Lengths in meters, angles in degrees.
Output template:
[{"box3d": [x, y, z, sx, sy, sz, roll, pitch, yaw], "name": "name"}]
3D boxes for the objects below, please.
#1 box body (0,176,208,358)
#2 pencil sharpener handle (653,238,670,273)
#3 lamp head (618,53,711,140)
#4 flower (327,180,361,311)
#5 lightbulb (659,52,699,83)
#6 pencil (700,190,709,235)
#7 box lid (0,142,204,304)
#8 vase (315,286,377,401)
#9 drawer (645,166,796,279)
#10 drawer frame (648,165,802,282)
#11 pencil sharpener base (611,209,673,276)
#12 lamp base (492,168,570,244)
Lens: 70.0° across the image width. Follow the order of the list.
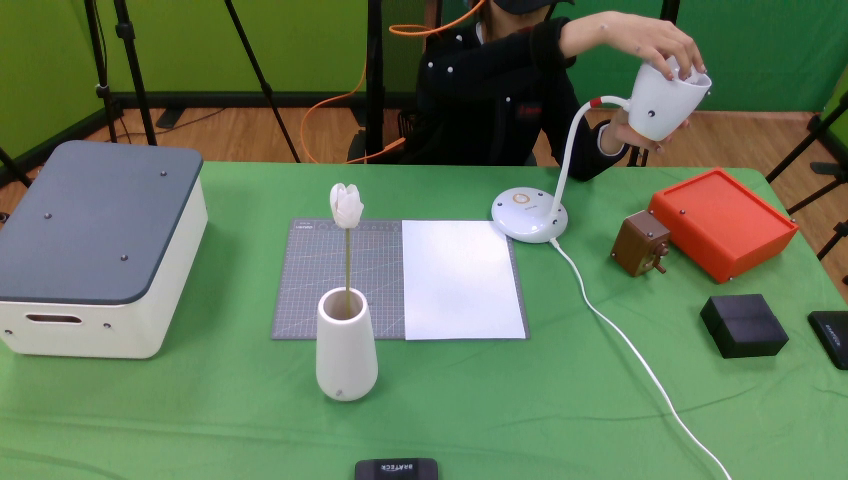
[{"box3d": [-0.546, 0.017, 1.045, 0.254, 0.161, 0.361, 2, 46, -2], "name": "box body"}, {"box3d": [0.444, 0.030, 1.120, 0.036, 0.068, 0.030, -25, 52, -18], "name": "pencil sharpener handle"}, {"box3d": [0.378, -0.227, 0.978, 0.112, 0.123, 0.111, 14, 40, -12], "name": "lamp head"}, {"box3d": [-0.110, 0.086, 0.867, 0.044, 0.363, 0.038, 22, 33, 35], "name": "flower"}, {"box3d": [0.393, -0.246, 0.966, 0.059, 0.108, 0.059, 17, 30, -10], "name": "lightbulb"}, {"box3d": [0.583, -0.058, 1.257, 0.012, 0.012, 0.193, 16, 35, 12], "name": "pencil"}, {"box3d": [-0.534, -0.044, 0.995, 0.263, 0.015, 0.369, 3, 45, -3], "name": "box lid"}, {"box3d": [-0.119, 0.159, 0.911, 0.098, 0.201, 0.097, 2, 47, -2], "name": "vase"}, {"box3d": [0.600, -0.041, 1.236, 0.195, 0.073, 0.210, -21, 51, -23], "name": "drawer"}, {"box3d": [0.603, -0.040, 1.234, 0.202, 0.083, 0.212, -21, 51, -23], "name": "drawer frame"}, {"box3d": [0.416, 0.007, 1.158, 0.061, 0.107, 0.076, -21, 51, -22], "name": "pencil sharpener base"}, {"box3d": [0.234, -0.101, 1.200, 0.161, 0.181, 0.178, -24, 56, -25], "name": "lamp base"}]
